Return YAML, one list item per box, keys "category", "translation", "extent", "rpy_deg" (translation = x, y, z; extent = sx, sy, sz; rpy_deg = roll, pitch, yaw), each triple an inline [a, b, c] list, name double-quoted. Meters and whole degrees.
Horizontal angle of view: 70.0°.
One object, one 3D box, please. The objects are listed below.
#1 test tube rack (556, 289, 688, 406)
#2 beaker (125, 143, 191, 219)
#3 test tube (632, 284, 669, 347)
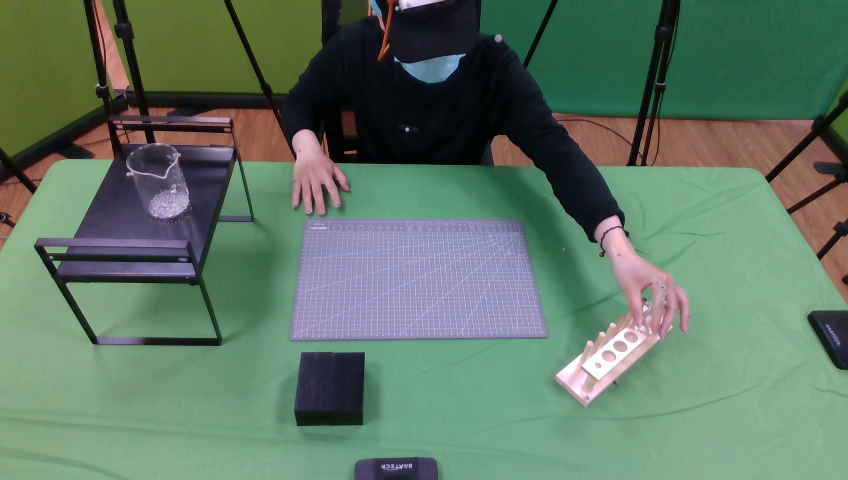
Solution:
- category: "test tube rack"
  translation: [0.332, 0.166, 1.014]
  extent: [0.242, 0.085, 0.066]
  rpy_deg: [-30, 55, -28]
- category: "beaker"
  translation: [-0.409, -0.088, 0.946]
  extent: [0.074, 0.101, 0.083]
  rpy_deg: [-28, 54, -26]
- category: "test tube"
  translation: [0.357, 0.123, 0.961]
  extent: [0.017, 0.151, 0.017]
  rpy_deg: [2, 45, -1]
